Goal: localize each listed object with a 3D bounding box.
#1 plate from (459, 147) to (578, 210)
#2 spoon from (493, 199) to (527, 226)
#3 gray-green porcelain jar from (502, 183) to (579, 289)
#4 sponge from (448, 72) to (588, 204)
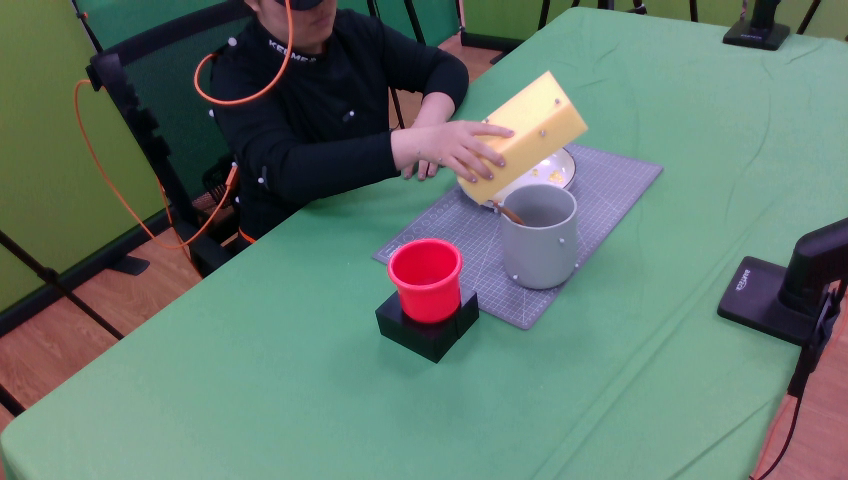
[{"bbox_3d":[0.166,-0.113,1.068,0.207,0.039,0.206,-5,40,5],"label":"plate"},{"bbox_3d":[0.135,-0.016,0.831,0.021,0.195,0.041,-49,53,-1],"label":"spoon"},{"bbox_3d":[0.167,-0.001,0.866,0.106,0.127,0.105,-5,40,5],"label":"gray-green porcelain jar"},{"bbox_3d":[0.146,-0.164,0.974,0.206,0.061,0.117,-35,36,15],"label":"sponge"}]
